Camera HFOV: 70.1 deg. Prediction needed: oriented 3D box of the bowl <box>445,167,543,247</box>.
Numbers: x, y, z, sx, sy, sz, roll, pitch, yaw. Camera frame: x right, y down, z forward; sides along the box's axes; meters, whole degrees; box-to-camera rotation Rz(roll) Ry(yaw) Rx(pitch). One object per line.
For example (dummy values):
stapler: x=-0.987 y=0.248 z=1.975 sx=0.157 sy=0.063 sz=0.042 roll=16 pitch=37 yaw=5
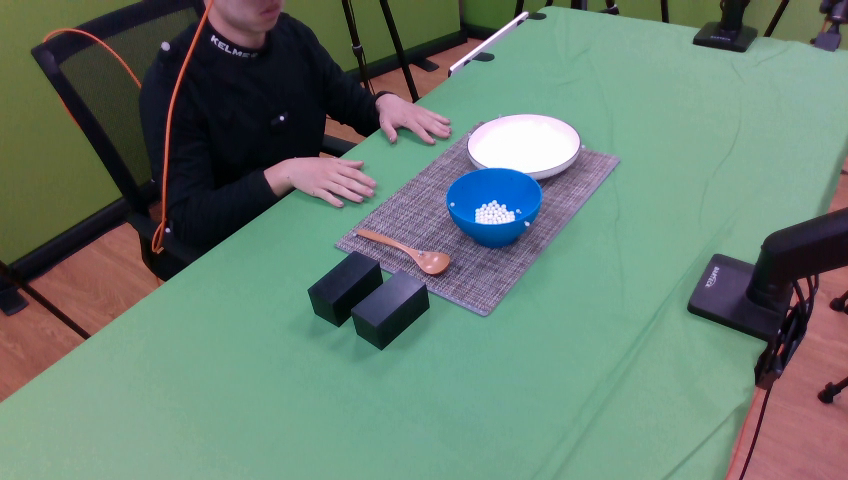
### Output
bowl: x=0.111 y=-0.041 z=0.952 sx=0.151 sy=0.077 sz=0.150 roll=-4 pitch=41 yaw=4

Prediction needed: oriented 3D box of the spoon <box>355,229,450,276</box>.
spoon: x=-0.038 y=0.013 z=0.953 sx=0.192 sy=0.022 sz=0.041 roll=24 pitch=67 yaw=31

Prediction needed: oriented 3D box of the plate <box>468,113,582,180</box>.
plate: x=0.186 y=-0.169 z=1.122 sx=0.207 sy=0.039 sz=0.206 roll=-4 pitch=40 yaw=4
